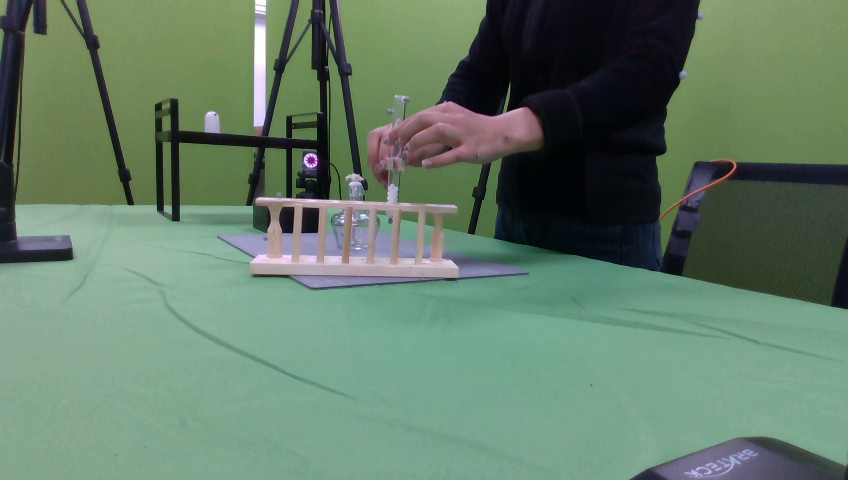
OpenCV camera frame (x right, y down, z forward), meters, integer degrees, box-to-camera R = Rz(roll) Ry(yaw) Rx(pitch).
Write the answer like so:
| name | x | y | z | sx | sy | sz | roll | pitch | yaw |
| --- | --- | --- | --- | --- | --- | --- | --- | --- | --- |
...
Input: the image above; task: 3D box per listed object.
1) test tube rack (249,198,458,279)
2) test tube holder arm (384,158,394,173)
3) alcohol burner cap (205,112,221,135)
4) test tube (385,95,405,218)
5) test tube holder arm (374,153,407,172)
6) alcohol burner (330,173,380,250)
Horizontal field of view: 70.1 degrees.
| name | x | y | z | sx | sy | sz | roll | pitch | yaw |
| --- | --- | --- | --- | --- | --- | --- | --- | --- | --- |
| test tube rack | -0.082 | -0.002 | 0.732 | 0.243 | 0.085 | 0.066 | 2 | 8 | -7 |
| test tube holder arm | -0.044 | -0.095 | 0.762 | 0.010 | 0.015 | 0.087 | -4 | 12 | -4 |
| alcohol burner cap | -0.443 | -0.245 | 1.270 | 0.034 | 0.048 | 0.034 | 3 | 8 | 0 |
| test tube | -0.035 | -0.101 | 0.740 | 0.017 | 0.150 | 0.017 | 4 | 8 | 0 |
| test tube holder arm | -0.047 | -0.104 | 0.807 | 0.013 | 0.015 | 0.178 | -5 | 12 | -13 |
| alcohol burner | -0.108 | -0.044 | 0.938 | 0.078 | 0.119 | 0.078 | 1 | 6 | 0 |
